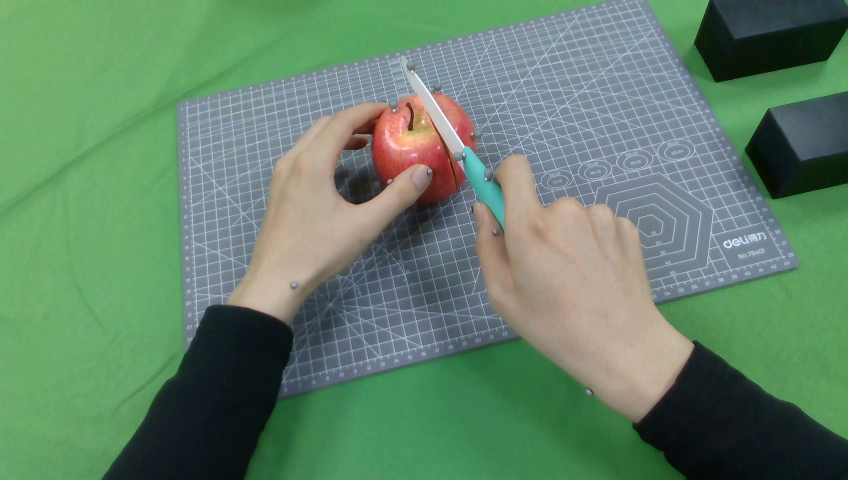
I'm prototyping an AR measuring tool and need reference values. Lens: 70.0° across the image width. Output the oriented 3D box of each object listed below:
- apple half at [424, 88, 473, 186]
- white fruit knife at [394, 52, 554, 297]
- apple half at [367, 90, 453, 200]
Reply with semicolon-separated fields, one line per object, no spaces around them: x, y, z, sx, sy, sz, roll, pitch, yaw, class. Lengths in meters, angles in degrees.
0.021;-0.082;0.471;0.033;0.082;0.080;-23;62;-5;apple half
0.027;-0.053;0.408;0.016;0.027;0.206;-25;69;-17;white fruit knife
-0.015;-0.066;0.468;0.053;0.075;0.080;-24;67;-2;apple half
